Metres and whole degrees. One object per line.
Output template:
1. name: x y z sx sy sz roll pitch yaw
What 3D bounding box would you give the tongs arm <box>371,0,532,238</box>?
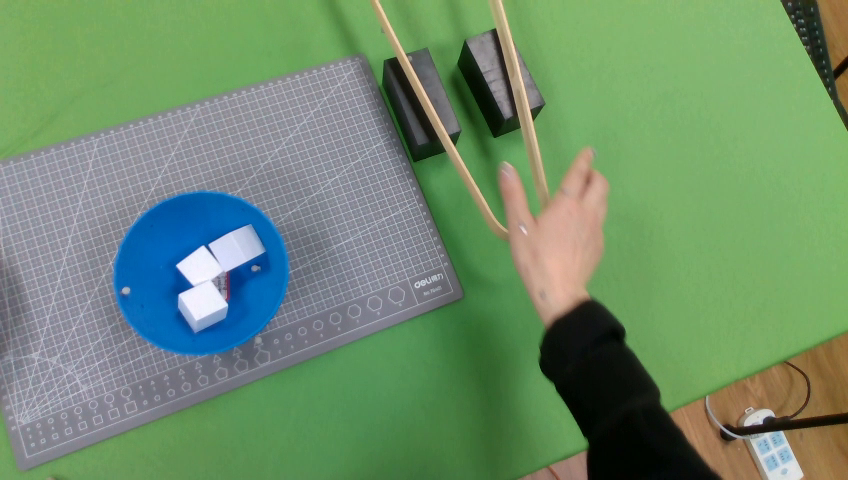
1. tongs arm: 0.007 -0.172 0.626 0.051 0.026 0.383 -22 82 -13

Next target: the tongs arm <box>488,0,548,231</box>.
1. tongs arm: 0.080 -0.196 0.641 0.028 0.028 0.386 -9 79 -14

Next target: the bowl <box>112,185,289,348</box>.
1. bowl: -0.202 0.030 0.576 0.152 0.077 0.150 2 78 -8
